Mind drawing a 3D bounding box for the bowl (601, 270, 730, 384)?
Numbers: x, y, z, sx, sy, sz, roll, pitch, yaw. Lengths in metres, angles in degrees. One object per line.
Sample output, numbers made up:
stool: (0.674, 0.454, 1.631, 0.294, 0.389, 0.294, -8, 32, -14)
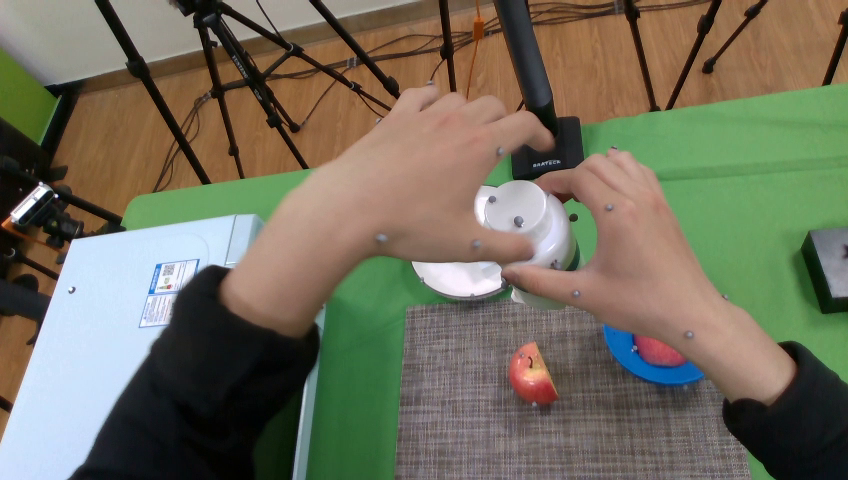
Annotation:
bowl: (0.310, 0.123, 0.790, 0.151, 0.077, 0.150, -9, 58, 15)

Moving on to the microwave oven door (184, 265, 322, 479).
microwave oven door: (-0.213, 0.241, 0.781, 0.039, 0.246, 0.352, -8, 59, 15)

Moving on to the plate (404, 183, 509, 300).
plate: (0.073, 0.005, 0.970, 0.207, 0.039, 0.206, -8, 59, 14)

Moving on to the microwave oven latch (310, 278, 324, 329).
microwave oven latch: (-0.177, 0.103, 0.974, 0.030, 0.030, 0.078, -9, 59, 13)

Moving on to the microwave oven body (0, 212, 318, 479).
microwave oven body: (-0.352, 0.226, 0.842, 0.325, 0.263, 0.437, -7, 59, 14)

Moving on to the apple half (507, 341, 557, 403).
apple half: (0.141, 0.183, 0.815, 0.053, 0.075, 0.080, -25, 60, 8)

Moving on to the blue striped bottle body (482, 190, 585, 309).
blue striped bottle body: (0.083, 0.004, 0.459, 0.063, 0.122, 0.062, -10, 61, 19)

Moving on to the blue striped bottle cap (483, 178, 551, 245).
blue striped bottle cap: (0.064, -0.020, 0.415, 0.044, 0.021, 0.044, -9, 65, 21)

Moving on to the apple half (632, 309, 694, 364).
apple half: (0.310, 0.121, 0.785, 0.081, 0.033, 0.080, -9, 57, 14)
